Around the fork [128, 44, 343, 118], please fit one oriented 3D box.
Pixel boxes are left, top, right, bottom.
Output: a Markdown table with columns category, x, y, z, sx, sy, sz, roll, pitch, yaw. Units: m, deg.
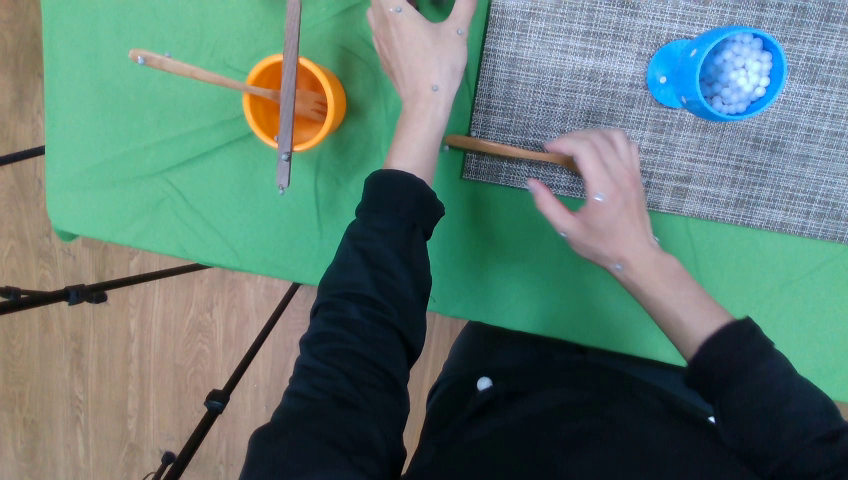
| category | x | y | z | sx | sy | sz | roll | pitch | yaw |
| --- | --- | --- | --- | --- | --- | --- | --- | --- | --- |
| fork | -0.170 | -0.152 | 0.581 | 0.209 | 0.018 | 0.028 | 7 | 121 | -40 |

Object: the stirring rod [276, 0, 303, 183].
| category | x | y | z | sx | sy | sz | roll | pitch | yaw |
| --- | --- | --- | --- | --- | --- | --- | --- | --- | --- |
| stirring rod | -0.129 | -0.140 | 0.577 | 0.014 | 0.006 | 0.177 | 10 | 107 | 6 |

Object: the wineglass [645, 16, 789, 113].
| category | x | y | z | sx | sy | sz | roll | pitch | yaw |
| --- | --- | --- | --- | --- | --- | --- | --- | --- | --- |
| wineglass | 0.236 | -0.147 | 0.508 | 0.073 | 0.171 | 0.074 | 2 | 106 | 8 |

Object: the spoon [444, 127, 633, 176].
| category | x | y | z | sx | sy | sz | roll | pitch | yaw |
| --- | --- | --- | --- | --- | --- | --- | --- | --- | --- |
| spoon | 0.114 | -0.097 | 0.619 | 0.193 | 0.021 | 0.042 | 9 | 130 | 5 |
